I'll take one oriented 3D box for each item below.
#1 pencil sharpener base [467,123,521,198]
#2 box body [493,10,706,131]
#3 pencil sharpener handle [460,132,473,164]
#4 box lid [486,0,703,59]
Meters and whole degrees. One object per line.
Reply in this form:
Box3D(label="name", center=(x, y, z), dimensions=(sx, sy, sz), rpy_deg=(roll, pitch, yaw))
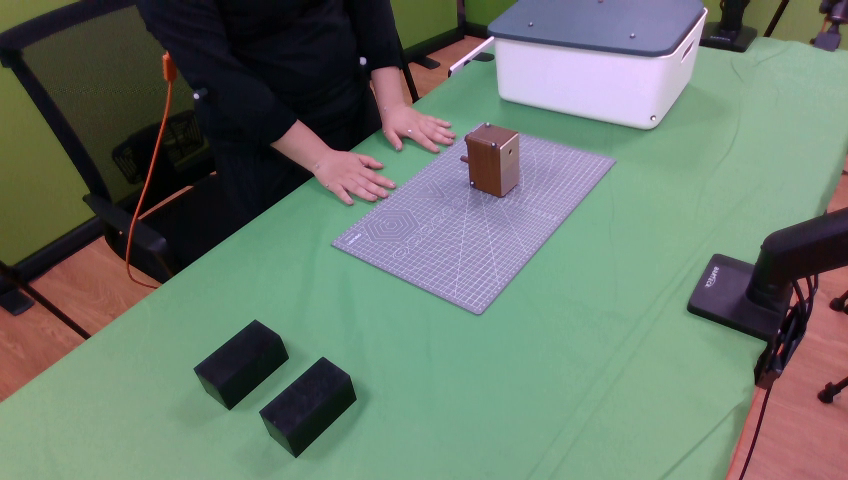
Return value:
Box3D(label="pencil sharpener base", center=(0.119, -0.138, 1.044), dimensions=(0.076, 0.107, 0.061), rpy_deg=(23, 50, 32))
Box3D(label="box body", center=(0.354, -0.377, 1.254), dimensions=(0.361, 0.161, 0.254), rpy_deg=(20, 48, 28))
Box3D(label="pencil sharpener handle", center=(0.077, -0.163, 1.062), dimensions=(0.030, 0.068, 0.036), rpy_deg=(23, 43, 32))
Box3D(label="box lid", center=(0.338, -0.437, 1.205), dimensions=(0.369, 0.015, 0.264), rpy_deg=(18, 48, 29))
